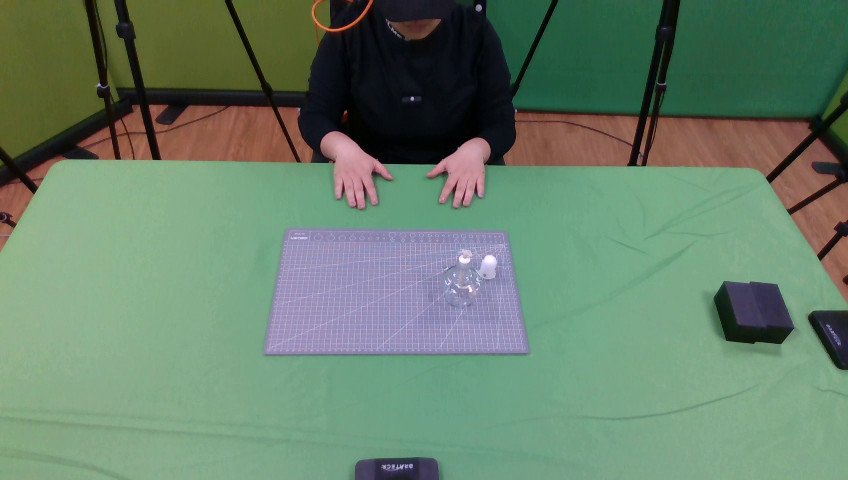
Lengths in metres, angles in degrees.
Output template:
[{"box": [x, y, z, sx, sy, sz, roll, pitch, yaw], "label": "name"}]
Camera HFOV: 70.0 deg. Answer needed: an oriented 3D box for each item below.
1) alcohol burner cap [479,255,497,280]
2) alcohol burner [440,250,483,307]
[{"box": [0.122, 0.050, 1.143, 0.034, 0.048, 0.033, 2, 45, -2], "label": "alcohol burner cap"}, {"box": [0.068, 0.063, 1.076, 0.078, 0.120, 0.077, 1, 45, -1], "label": "alcohol burner"}]
